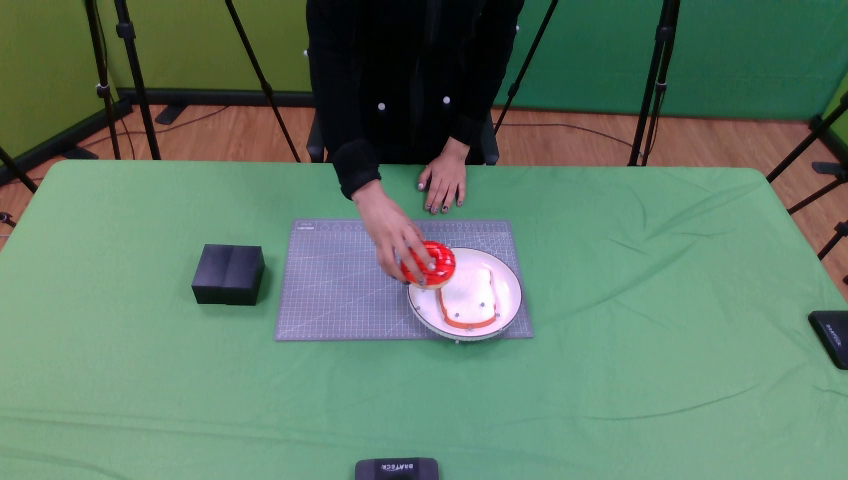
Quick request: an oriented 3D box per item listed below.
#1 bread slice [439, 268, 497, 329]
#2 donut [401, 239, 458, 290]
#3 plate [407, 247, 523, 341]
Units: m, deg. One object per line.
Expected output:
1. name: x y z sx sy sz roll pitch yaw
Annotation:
1. bread slice: 0.081 0.103 1.092 0.105 0.019 0.130 -3 46 -5
2. donut: 0.009 0.040 1.030 0.099 0.048 0.098 0 50 0
3. plate: 0.073 0.099 1.093 0.209 0.038 0.208 2 46 -2
